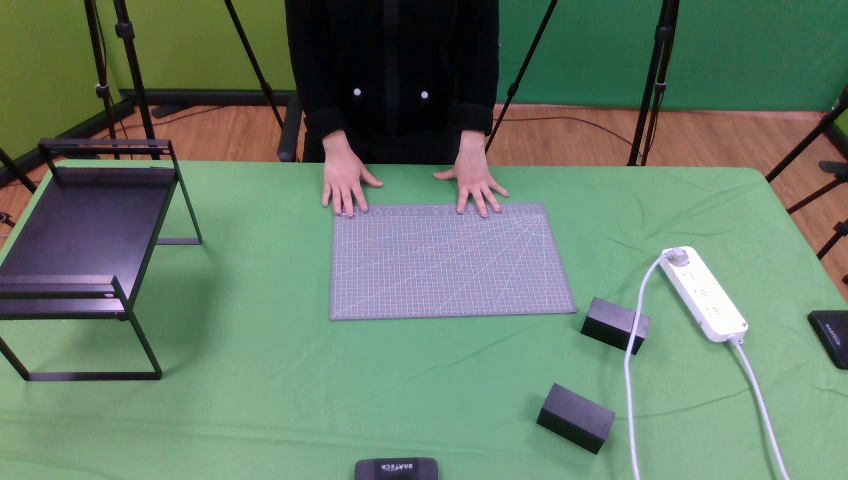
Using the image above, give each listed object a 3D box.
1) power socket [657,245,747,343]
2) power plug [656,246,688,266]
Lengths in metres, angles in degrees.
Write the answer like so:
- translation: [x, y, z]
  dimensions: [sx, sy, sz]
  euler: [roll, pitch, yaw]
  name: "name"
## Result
- translation: [0.516, 0.096, 1.135]
  dimensions: [0.072, 0.033, 0.225]
  euler: [-8, 48, -10]
  name: "power socket"
- translation: [0.471, 0.034, 1.165]
  dimensions: [0.072, 0.053, 0.035]
  euler: [-2, 47, -1]
  name: "power plug"
